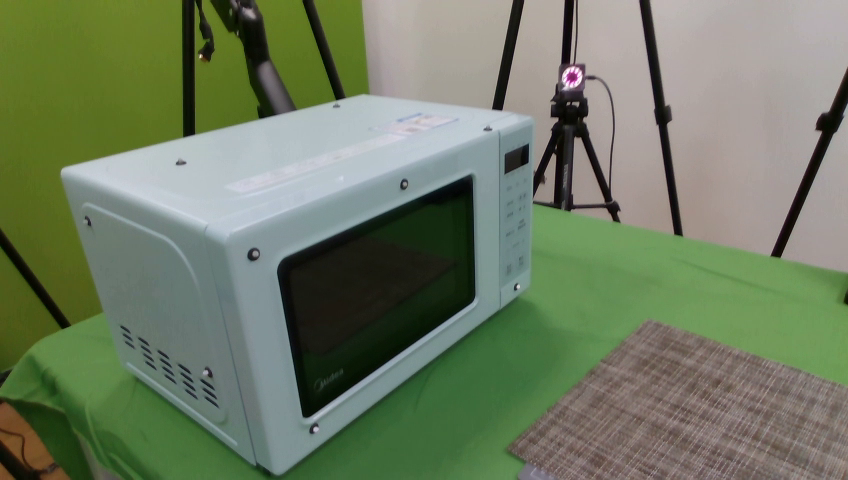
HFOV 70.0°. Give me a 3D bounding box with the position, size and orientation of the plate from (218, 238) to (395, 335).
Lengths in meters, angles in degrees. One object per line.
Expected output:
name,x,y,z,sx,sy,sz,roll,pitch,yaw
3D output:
plate,-0.137,0.056,0.726,0.209,0.038,0.207,-3,25,2

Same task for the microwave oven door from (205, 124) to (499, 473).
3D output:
microwave oven door,-0.037,0.039,0.616,0.039,0.245,0.356,17,31,37

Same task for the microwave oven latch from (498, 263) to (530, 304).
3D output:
microwave oven latch,0.112,0.055,0.808,0.030,0.030,0.079,18,33,37

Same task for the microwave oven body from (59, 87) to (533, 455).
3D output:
microwave oven body,-0.121,-0.004,0.734,0.323,0.262,0.442,18,32,37

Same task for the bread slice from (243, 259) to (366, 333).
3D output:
bread slice,-0.140,0.059,0.731,0.132,0.019,0.104,-25,33,-33
